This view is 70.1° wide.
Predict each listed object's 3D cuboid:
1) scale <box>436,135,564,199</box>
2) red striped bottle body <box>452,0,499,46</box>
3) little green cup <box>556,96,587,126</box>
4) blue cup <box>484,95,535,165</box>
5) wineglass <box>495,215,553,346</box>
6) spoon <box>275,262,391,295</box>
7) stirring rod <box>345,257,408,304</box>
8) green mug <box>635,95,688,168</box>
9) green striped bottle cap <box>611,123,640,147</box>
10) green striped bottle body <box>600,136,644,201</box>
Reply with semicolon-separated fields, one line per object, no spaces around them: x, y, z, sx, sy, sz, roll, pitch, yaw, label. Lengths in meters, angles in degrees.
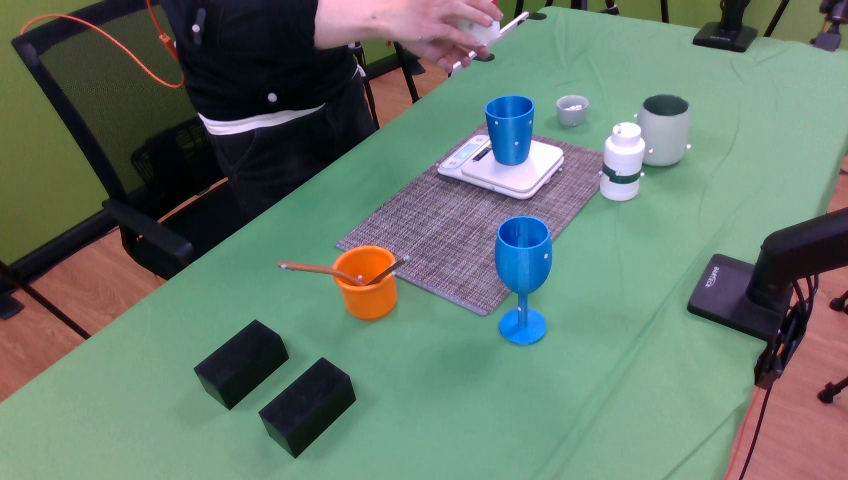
0.137;-0.142;1.101;0.199;0.032;0.149;22;48;30;scale
0.070;-0.344;0.855;0.063;0.120;0.062;-7;42;7;red striped bottle body
0.295;-0.258;1.214;0.061;0.039;0.061;-5;41;4;little green cup
0.150;-0.188;1.053;0.092;0.100;0.092;-6;39;5;blue cup
0.127;0.055;0.770;0.074;0.173;0.073;-4;40;4;wineglass
-0.120;0.050;0.830;0.041;0.195;0.021;33;98;45;spoon
-0.067;0.057;0.814;0.014;0.175;0.006;-25;82;-38;stirring rod
0.421;-0.201;1.081;0.092;0.105;0.125;5;42;15;green mug
0.322;-0.168;0.963;0.044;0.020;0.044;-3;42;3;green striped bottle cap
0.326;-0.128;0.997;0.063;0.120;0.063;-4;41;4;green striped bottle body
